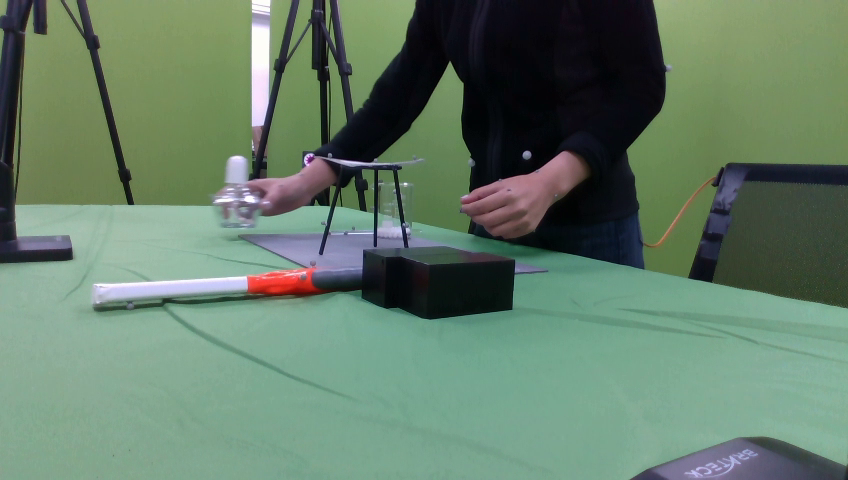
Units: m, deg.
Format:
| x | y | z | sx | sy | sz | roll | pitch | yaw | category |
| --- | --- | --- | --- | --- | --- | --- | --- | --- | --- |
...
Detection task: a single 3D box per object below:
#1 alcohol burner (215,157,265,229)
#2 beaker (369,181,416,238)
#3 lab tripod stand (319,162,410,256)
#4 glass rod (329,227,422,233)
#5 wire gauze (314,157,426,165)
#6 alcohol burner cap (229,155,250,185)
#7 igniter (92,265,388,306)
| x | y | z | sx | sy | sz | roll | pitch | yaw | category |
| --- | --- | --- | --- | --- | --- | --- | --- | --- | --- |
| -0.299 | -0.077 | 0.983 | 0.078 | 0.119 | 0.078 | -1 | 4 | 0 | alcohol burner |
| -0.058 | -0.056 | 1.090 | 0.084 | 0.100 | 0.074 | 2 | 7 | 0 | beaker |
| -0.081 | -0.047 | 0.879 | 0.148 | 0.131 | 0.148 | 2 | 9 | 0 | lab tripod stand |
| -0.087 | -0.020 | 1.148 | 0.201 | 0.008 | 0.008 | -3 | 8 | -32 | glass rod |
| -0.080 | -0.113 | 0.868 | 0.122 | 0.011 | 0.124 | -4 | 10 | -36 | wire gauze |
| -0.298 | -0.113 | 0.982 | 0.034 | 0.048 | 0.034 | 4 | 2 | 0 | alcohol burner cap |
| -0.164 | 0.042 | 0.589 | 0.278 | 0.025 | 0.057 | -2 | -6 | -31 | igniter |
